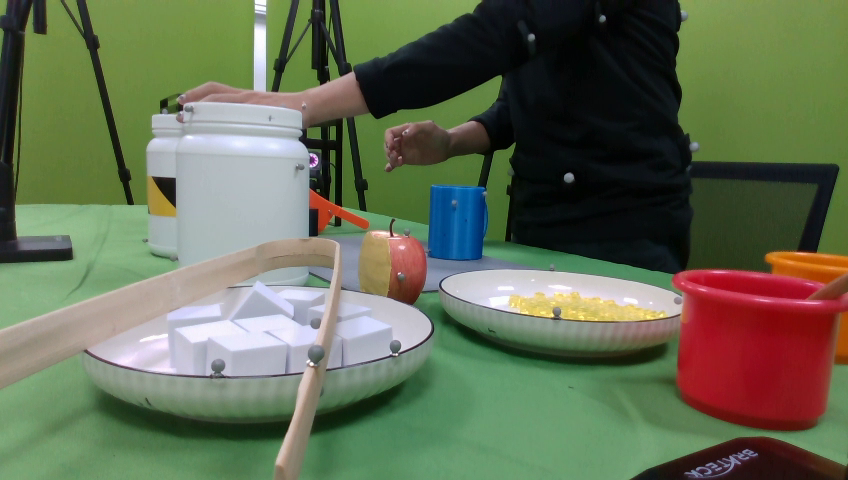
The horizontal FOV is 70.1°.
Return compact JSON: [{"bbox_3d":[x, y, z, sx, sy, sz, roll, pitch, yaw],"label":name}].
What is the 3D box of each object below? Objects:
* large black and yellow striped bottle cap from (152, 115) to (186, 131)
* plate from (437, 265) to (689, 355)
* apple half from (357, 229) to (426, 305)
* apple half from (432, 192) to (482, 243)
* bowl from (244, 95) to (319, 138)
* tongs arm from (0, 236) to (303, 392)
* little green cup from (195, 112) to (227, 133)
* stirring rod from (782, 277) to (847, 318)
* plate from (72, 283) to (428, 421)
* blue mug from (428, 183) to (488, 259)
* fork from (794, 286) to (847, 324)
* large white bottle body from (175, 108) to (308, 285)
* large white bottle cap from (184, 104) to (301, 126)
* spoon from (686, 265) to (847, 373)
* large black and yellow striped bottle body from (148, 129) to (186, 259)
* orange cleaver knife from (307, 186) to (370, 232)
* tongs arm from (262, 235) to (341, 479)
[{"bbox_3d":[-0.309,-0.156,0.826,0.115,0.019,0.115,3,6,0],"label":"large black and yellow striped bottle cap"},{"bbox_3d":[0.114,0.057,0.517,0.209,0.038,0.209,3,8,0],"label":"plate"},{"bbox_3d":[-0.026,0.028,0.570,0.053,0.074,0.080,2,2,-28],"label":"apple half"},{"bbox_3d":[0.049,-0.036,0.906,0.081,0.081,0.033,2,15,-1],"label":"apple half"},{"bbox_3d":[-0.293,-0.251,1.249,0.151,0.077,0.151,2,8,0],"label":"bowl"},{"bbox_3d":[-0.157,0.037,0.351,0.028,0.028,0.388,-3,8,12],"label":"tongs arm"},{"bbox_3d":[-0.412,-0.227,1.171,0.061,0.038,0.061,3,8,0],"label":"little green cup"},{"bbox_3d":[0.344,0.019,0.460,0.014,0.006,0.176,-13,-27,-30],"label":"stirring rod"},{"bbox_3d":[-0.102,0.066,0.380,0.208,0.039,0.207,2,7,0],"label":"plate"},{"bbox_3d":[0.059,-0.031,0.907,0.082,0.106,0.117,9,10,42],"label":"blue mug"},{"bbox_3d":[0.332,0.018,0.443,0.028,0.018,0.207,0,-36,-15],"label":"fork"},{"bbox_3d":[-0.188,-0.042,0.630,0.131,0.184,0.130,2,8,0],"label":"large white bottle body"},{"bbox_3d":[-0.184,-0.126,0.618,0.115,0.018,0.115,2,8,0],"label":"large white bottle cap"},{"bbox_3d":[0.214,0.032,0.328,0.042,0.021,0.193,-2,-35,-25],"label":"spoon"},{"bbox_3d":[-0.310,-0.073,0.838,0.131,0.184,0.130,2,8,0],"label":"large black and yellow striped bottle body"},{"bbox_3d":[-0.197,-0.056,1.141,0.212,0.077,0.012,29,0,-35],"label":"orange cleaver knife"},{"bbox_3d":[-0.073,0.039,0.349,0.051,0.026,0.384,-1,9,-3],"label":"tongs arm"}]
